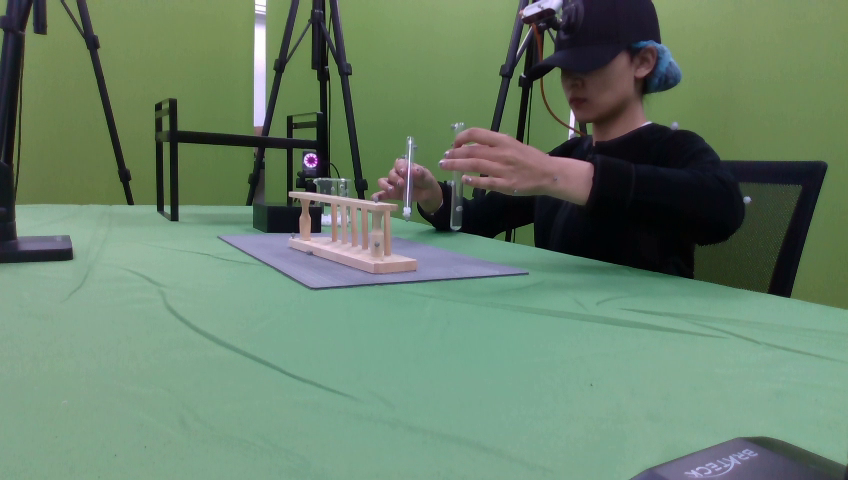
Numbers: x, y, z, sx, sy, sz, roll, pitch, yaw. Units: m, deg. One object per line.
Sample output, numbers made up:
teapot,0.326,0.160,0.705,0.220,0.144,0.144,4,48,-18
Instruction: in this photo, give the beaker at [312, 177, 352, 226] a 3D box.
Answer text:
beaker,-0.194,-0.081,1.266,0.084,0.100,0.073,-3,9,-29

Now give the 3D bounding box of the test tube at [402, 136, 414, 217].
test tube,-0.027,-0.110,1.039,0.017,0.150,0.017,2,-18,1

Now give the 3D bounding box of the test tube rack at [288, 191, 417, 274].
test tube rack,-0.106,-0.017,0.835,0.067,0.085,0.241,-3,9,-37

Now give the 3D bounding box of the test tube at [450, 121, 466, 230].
test tube,0.047,-0.088,0.832,0.017,0.150,0.017,3,1,0
